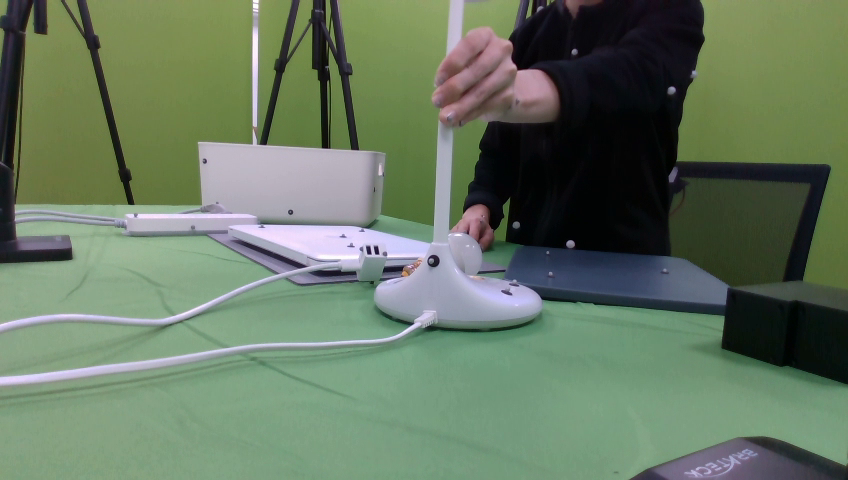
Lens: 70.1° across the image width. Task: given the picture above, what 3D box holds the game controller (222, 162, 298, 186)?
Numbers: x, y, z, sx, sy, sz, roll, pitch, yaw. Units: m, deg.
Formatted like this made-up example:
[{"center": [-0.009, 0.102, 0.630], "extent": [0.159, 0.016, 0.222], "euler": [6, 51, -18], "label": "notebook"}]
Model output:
[{"center": [-0.357, -0.143, 1.322], "extent": [0.156, 0.051, 0.097], "euler": [1, 2, -16], "label": "game controller"}]

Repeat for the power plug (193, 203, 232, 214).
[{"center": [-0.393, -0.042, 1.139], "extent": [0.072, 0.052, 0.035], "euler": [-14, 1, 31], "label": "power plug"}]

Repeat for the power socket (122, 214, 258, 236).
[{"center": [-0.398, -0.028, 1.049], "extent": [0.228, 0.032, 0.072], "euler": [-3, 8, -34], "label": "power socket"}]

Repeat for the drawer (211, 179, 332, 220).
[{"center": [-0.328, -0.095, 1.332], "extent": [0.212, 0.073, 0.194], "euler": [5, 8, 6], "label": "drawer"}]

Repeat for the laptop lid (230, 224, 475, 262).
[{"center": [-0.119, 0.000, 0.889], "extent": [0.243, 0.013, 0.355], "euler": [1, 7, -33], "label": "laptop lid"}]

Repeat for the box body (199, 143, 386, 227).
[{"center": [-0.276, -0.124, 1.335], "extent": [0.364, 0.160, 0.254], "euler": [3, 7, 1], "label": "box body"}]

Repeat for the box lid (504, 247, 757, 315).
[{"center": [0.244, 0.044, 0.793], "extent": [0.263, 0.015, 0.372], "euler": [4, 7, 10], "label": "box lid"}]

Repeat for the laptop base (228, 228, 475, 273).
[{"center": [-0.122, 0.012, 0.889], "extent": [0.237, 0.023, 0.352], "euler": [1, 7, -35], "label": "laptop base"}]

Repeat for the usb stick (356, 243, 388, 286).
[{"center": [-0.058, 0.029, 0.658], "extent": [0.027, 0.059, 0.021], "euler": [-4, 52, -18], "label": "usb stick"}]

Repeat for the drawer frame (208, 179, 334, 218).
[{"center": [-0.327, -0.093, 1.328], "extent": [0.213, 0.082, 0.202], "euler": [0, 5, 6], "label": "drawer frame"}]

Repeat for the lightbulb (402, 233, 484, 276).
[{"center": [0.021, 0.028, 0.694], "extent": [0.108, 0.059, 0.059], "euler": [-20, 18, -31], "label": "lightbulb"}]

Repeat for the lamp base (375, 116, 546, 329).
[{"center": [0.033, -0.020, 0.549], "extent": [0.160, 0.180, 0.179], "euler": [4, 10, 12], "label": "lamp base"}]

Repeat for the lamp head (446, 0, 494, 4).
[{"center": [0.050, -0.301, 0.572], "extent": [0.112, 0.112, 0.123], "euler": [5, -36, 19], "label": "lamp head"}]
